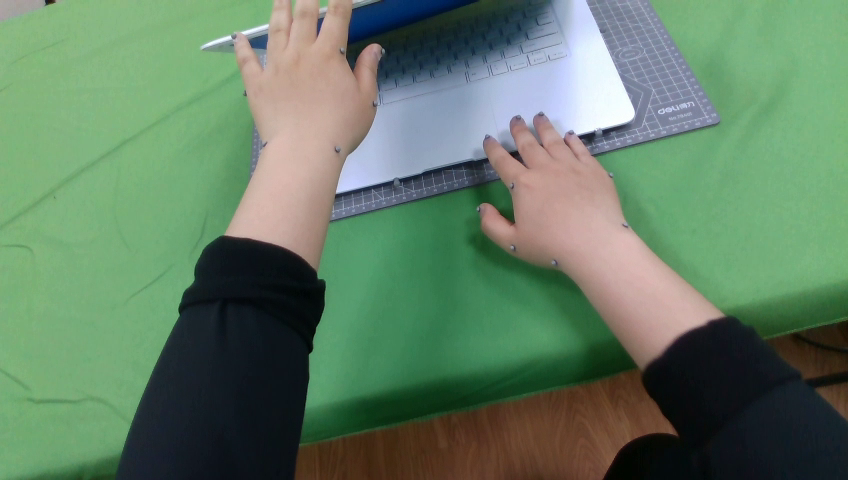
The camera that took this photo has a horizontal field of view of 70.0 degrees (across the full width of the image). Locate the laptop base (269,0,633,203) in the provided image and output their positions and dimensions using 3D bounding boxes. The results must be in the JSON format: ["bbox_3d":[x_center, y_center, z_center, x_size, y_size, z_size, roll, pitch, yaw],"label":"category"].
[{"bbox_3d":[0.010,-0.162,0.635,0.354,0.023,0.233,-13,56,7],"label":"laptop base"}]

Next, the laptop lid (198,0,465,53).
[{"bbox_3d":[-0.013,-0.232,0.584,0.356,0.013,0.240,-13,15,8],"label":"laptop lid"}]
